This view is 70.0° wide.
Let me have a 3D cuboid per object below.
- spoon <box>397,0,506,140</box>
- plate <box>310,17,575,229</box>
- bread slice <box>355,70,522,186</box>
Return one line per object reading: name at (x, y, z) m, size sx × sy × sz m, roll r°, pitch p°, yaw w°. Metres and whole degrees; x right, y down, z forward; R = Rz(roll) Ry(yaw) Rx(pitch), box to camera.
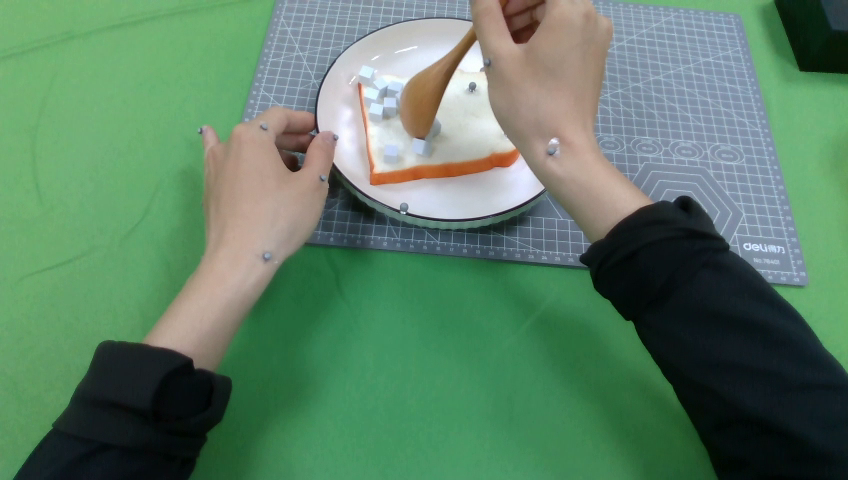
spoon at (0.030, -0.139, 0.404) m, size 0.022 × 0.194 × 0.041 m, roll -6°, pitch 59°, yaw -43°
plate at (0.014, -0.094, 0.488) m, size 0.209 × 0.038 × 0.207 m, roll 2°, pitch 61°, yaw -3°
bread slice at (0.012, -0.097, 0.493) m, size 0.132 × 0.019 × 0.104 m, roll -9°, pitch 62°, yaw -7°
